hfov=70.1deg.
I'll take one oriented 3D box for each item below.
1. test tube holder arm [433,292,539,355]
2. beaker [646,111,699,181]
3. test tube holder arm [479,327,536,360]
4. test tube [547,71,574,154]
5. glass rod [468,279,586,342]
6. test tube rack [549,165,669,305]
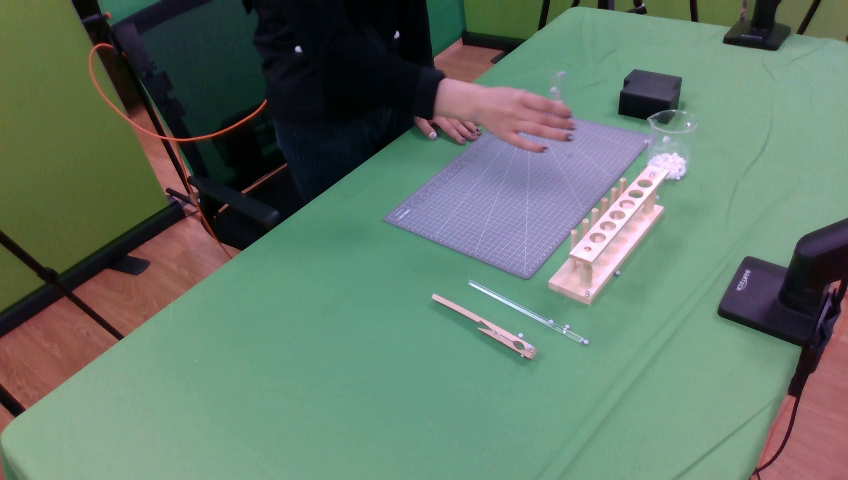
[{"bbox_3d":[0.081,0.113,0.833,0.177,0.015,0.013,28,84,36],"label":"test tube holder arm"},{"bbox_3d":[0.417,-0.160,1.032,0.083,0.101,0.074,25,51,35],"label":"beaker"},{"bbox_3d":[0.110,0.135,0.806,0.087,0.015,0.010,29,84,36],"label":"test tube holder arm"},{"bbox_3d":[0.204,-0.185,0.897,0.017,0.151,0.017,-13,46,14],"label":"test tube"},{"bbox_3d":[0.140,0.096,0.853,0.198,0.008,0.008,27,52,35],"label":"glass rod"},{"bbox_3d":[0.279,-0.018,0.902,0.066,0.085,0.243,24,50,33],"label":"test tube rack"}]
